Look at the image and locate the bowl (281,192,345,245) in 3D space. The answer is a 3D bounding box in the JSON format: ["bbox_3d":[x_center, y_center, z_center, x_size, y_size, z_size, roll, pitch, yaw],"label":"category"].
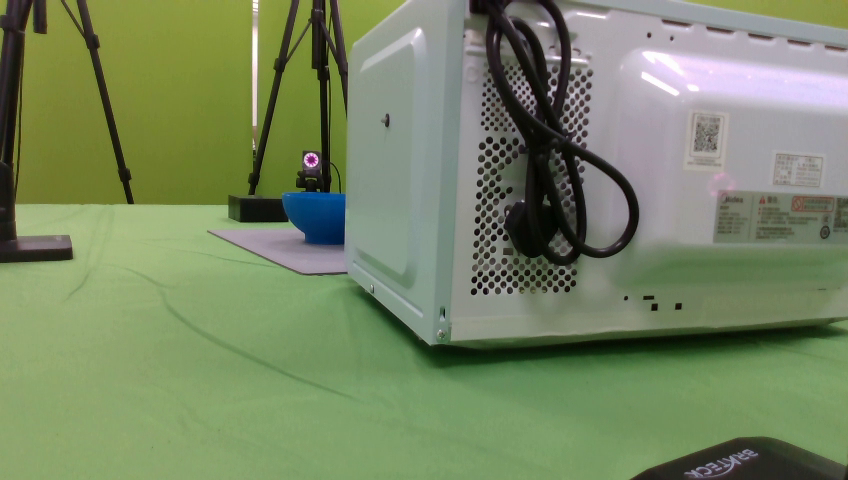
[{"bbox_3d":[-0.158,-0.035,0.991,0.151,0.077,0.151,3,7,0],"label":"bowl"}]

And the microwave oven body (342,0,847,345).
[{"bbox_3d":[0.169,-0.060,0.573,0.444,0.260,0.324,1,7,-20],"label":"microwave oven body"}]

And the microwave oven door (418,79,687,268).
[{"bbox_3d":[0.165,-0.099,0.843,0.355,0.243,0.039,5,8,21],"label":"microwave oven door"}]

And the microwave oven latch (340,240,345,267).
[{"bbox_3d":[-0.052,0.016,0.662,0.079,0.029,0.030,1,7,-18],"label":"microwave oven latch"}]
